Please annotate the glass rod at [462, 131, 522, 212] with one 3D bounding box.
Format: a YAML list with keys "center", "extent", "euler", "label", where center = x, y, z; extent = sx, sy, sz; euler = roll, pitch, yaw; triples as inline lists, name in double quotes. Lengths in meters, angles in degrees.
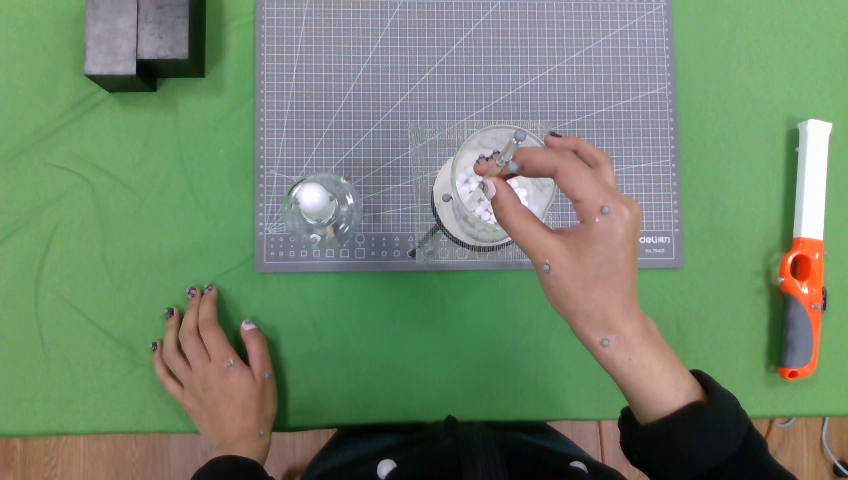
- center: [0.041, -0.039, 0.401]
  extent: [0.008, 0.200, 0.008]
  euler: [0, 82, -4]
  label: "glass rod"

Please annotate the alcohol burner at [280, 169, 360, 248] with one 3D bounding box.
- center: [-0.101, -0.033, 0.577]
  extent: [0.078, 0.119, 0.077]
  euler: [0, 83, -3]
  label: "alcohol burner"

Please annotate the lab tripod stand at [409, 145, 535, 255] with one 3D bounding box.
- center: [0.046, -0.033, 0.574]
  extent: [0.148, 0.131, 0.148]
  euler: [0, 84, 0]
  label: "lab tripod stand"

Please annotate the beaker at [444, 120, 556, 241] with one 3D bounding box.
- center: [0.054, -0.037, 0.460]
  extent: [0.074, 0.100, 0.084]
  euler: [-33, 86, -5]
  label: "beaker"

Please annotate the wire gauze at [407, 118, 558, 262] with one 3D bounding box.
- center: [0.049, -0.043, 0.509]
  extent: [0.125, 0.011, 0.121]
  euler: [-1, 83, 0]
  label: "wire gauze"

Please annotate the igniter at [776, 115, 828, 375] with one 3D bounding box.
- center: [0.402, 0.005, 0.643]
  extent: [0.057, 0.025, 0.276]
  euler: [8, 85, -13]
  label: "igniter"

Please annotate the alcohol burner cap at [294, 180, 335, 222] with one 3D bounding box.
- center: [-0.099, -0.036, 0.541]
  extent: [0.034, 0.048, 0.033]
  euler: [0, 81, -1]
  label: "alcohol burner cap"
